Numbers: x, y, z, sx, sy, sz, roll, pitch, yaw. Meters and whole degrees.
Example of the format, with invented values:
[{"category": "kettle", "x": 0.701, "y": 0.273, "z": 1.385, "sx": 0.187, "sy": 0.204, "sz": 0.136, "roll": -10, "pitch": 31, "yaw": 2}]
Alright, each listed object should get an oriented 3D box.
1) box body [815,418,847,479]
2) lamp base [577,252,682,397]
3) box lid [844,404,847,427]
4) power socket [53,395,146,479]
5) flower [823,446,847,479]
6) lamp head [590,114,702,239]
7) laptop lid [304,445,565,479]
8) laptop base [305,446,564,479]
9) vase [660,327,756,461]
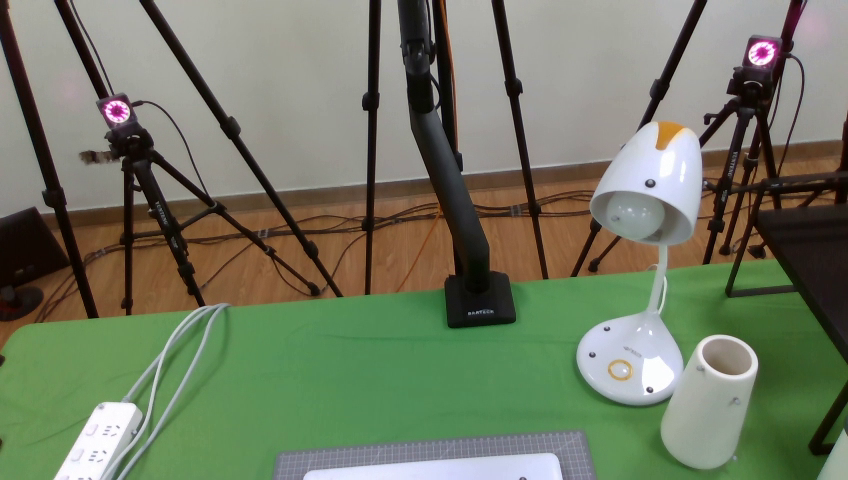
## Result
[{"category": "box body", "x": 0.617, "y": 0.353, "z": 0.616, "sx": 0.254, "sy": 0.162, "sz": 0.360, "roll": -4, "pitch": 42, "yaw": 3}, {"category": "lamp base", "x": 0.322, "y": 0.113, "z": 0.911, "sx": 0.159, "sy": 0.182, "sz": 0.178, "roll": 20, "pitch": 45, "yaw": 26}, {"category": "box lid", "x": 0.609, "y": 0.297, "z": 0.568, "sx": 0.263, "sy": 0.015, "sz": 0.367, "roll": -4, "pitch": 41, "yaw": 2}, {"category": "power socket", "x": -0.485, "y": 0.324, "z": 0.886, "sx": 0.072, "sy": 0.033, "sz": 0.224, "roll": 1, "pitch": 41, "yaw": 7}, {"category": "flower", "x": 0.544, "y": 0.394, "z": 0.642, "sx": 0.038, "sy": 0.044, "sz": 0.357, "roll": -40, "pitch": 43, "yaw": 29}, {"category": "lamp head", "x": 0.257, "y": -0.075, "z": 0.678, "sx": 0.111, "sy": 0.113, "sz": 0.122, "roll": 17, "pitch": 64, "yaw": 24}, {"category": "laptop lid", "x": 0.013, "y": 0.377, "z": 0.758, "sx": 0.356, "sy": 0.013, "sz": 0.239, "roll": -4, "pitch": 44, "yaw": 3}, {"category": "laptop base", "x": 0.014, "y": 0.384, "z": 0.768, "sx": 0.354, "sy": 0.023, "sz": 0.233, "roll": -5, "pitch": 45, "yaw": 2}, {"category": "vase", "x": 0.369, "y": 0.202, "z": 0.790, "sx": 0.098, "sy": 0.202, "sz": 0.097, "roll": -5, "pitch": 41, "yaw": 5}]
